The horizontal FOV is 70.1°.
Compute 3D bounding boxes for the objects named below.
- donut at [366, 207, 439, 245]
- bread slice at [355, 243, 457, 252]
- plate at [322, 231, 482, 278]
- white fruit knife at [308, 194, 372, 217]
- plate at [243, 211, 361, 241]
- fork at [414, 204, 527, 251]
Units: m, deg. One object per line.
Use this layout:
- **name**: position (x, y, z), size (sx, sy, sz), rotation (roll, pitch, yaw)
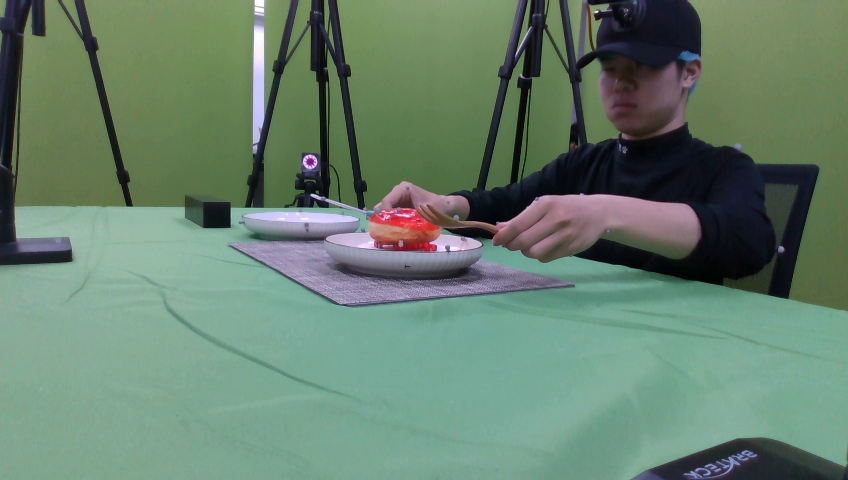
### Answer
- **donut**: position (-0.027, -0.017, 0.786), size (0.099, 0.048, 0.099), rotation (2, 7, 0)
- **bread slice**: position (-0.027, 0.019, 0.794), size (0.131, 0.019, 0.105), rotation (6, 7, 17)
- **plate**: position (-0.028, 0.018, 0.789), size (0.209, 0.038, 0.209), rotation (3, 7, 0)
- **white fruit knife**: position (-0.087, -0.040, 0.916), size (0.208, 0.016, 0.027), rotation (16, -9, -40)
- **plate**: position (-0.219, -0.025, 1.092), size (0.208, 0.039, 0.207), rotation (3, 7, 0)
- **fork**: position (0.059, -0.009, 0.685), size (0.208, 0.018, 0.028), rotation (13, 30, -45)
